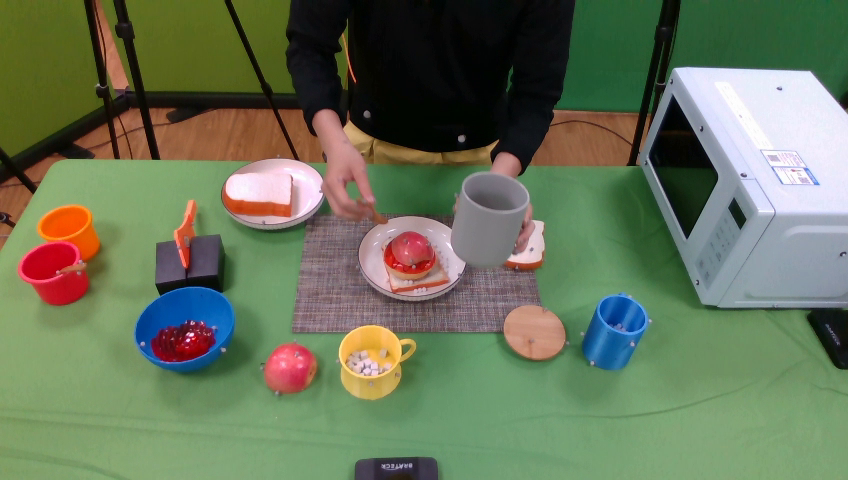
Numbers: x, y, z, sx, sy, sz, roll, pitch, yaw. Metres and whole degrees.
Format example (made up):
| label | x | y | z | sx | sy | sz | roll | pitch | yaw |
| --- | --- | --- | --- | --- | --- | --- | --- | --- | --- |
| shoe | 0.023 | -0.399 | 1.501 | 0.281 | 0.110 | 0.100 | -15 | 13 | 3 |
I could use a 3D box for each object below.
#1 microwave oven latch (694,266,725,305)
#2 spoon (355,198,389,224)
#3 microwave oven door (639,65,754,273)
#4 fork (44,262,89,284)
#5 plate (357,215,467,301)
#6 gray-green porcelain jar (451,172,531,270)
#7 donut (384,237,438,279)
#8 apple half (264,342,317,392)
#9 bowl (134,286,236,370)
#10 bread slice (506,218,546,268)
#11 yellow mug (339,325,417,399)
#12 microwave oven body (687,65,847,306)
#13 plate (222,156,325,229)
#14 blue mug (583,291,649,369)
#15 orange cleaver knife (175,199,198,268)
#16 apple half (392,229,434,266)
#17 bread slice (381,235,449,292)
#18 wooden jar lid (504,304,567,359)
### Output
| label | x | y | z | sx | sy | sz | roll | pitch | yaw |
| --- | --- | --- | --- | --- | --- | --- | --- | --- | --- |
| microwave oven latch | 0.523 | 0.082 | 1.115 | 0.030 | 0.029 | 0.078 | 3 | 46 | 0 |
| spoon | -0.088 | -0.050 | 0.990 | 0.041 | 0.194 | 0.021 | 26 | 84 | 9 |
| microwave oven door | 0.522 | -0.147 | 1.193 | 0.039 | 0.245 | 0.353 | 0 | 47 | -3 |
| fork | -0.598 | 0.054 | 1.014 | 0.207 | 0.019 | 0.028 | -15 | 29 | 45 |
| plate | -0.021 | 0.037 | 1.141 | 0.208 | 0.039 | 0.206 | 2 | 46 | -2 |
| gray-green porcelain jar | 0.100 | -0.025 | 0.943 | 0.106 | 0.127 | 0.105 | 6 | 41 | -5 |
| donut | -0.025 | 0.029 | 1.110 | 0.099 | 0.048 | 0.098 | 2 | 46 | -2 |
| apple half | -0.214 | 0.198 | 0.970 | 0.074 | 0.053 | 0.080 | 19 | 48 | 10 |
| bowl | -0.377 | 0.155 | 0.981 | 0.151 | 0.077 | 0.150 | 2 | 46 | -2 |
| bread slice | 0.194 | 0.002 | 1.205 | 0.105 | 0.019 | 0.131 | 5 | 45 | 2 |
| yellow mug | -0.072 | 0.190 | 0.978 | 0.131 | 0.064 | 0.099 | -17 | 50 | -20 |
| microwave oven body | 0.669 | -0.111 | 1.176 | 0.326 | 0.261 | 0.439 | 0 | 46 | -3 |
| plate | -0.308 | -0.095 | 1.251 | 0.209 | 0.038 | 0.208 | 2 | 47 | -2 |
| blue mug | 0.324 | 0.142 | 1.023 | 0.082 | 0.106 | 0.116 | 15 | 47 | 11 |
| orange cleaver knife | -0.438 | -0.017 | 1.138 | 0.012 | 0.077 | 0.210 | -14 | 27 | -7 |
| apple half | -0.020 | 0.005 | 1.083 | 0.081 | 0.033 | 0.081 | 6 | 48 | -7 |
| bread slice | -0.026 | 0.039 | 1.141 | 0.107 | 0.018 | 0.133 | -12 | 48 | -16 |
| wooden jar lid | 0.192 | 0.161 | 1.052 | 0.108 | 0.021 | 0.107 | 2 | 50 | -3 |
